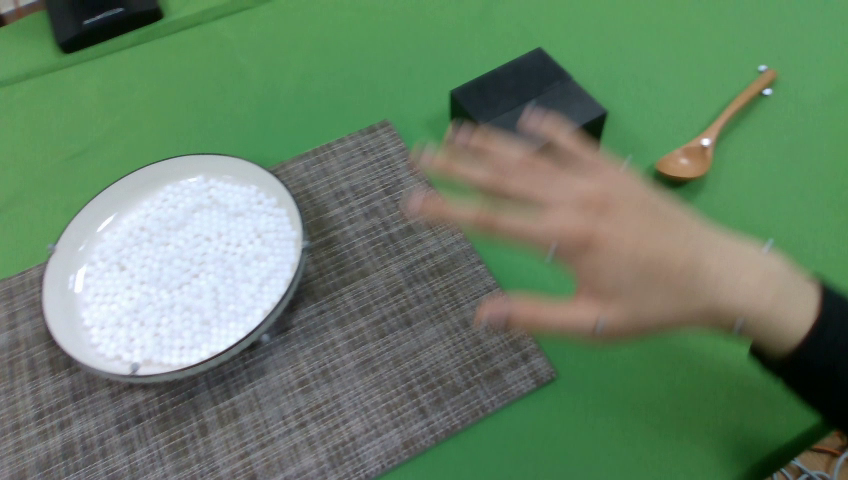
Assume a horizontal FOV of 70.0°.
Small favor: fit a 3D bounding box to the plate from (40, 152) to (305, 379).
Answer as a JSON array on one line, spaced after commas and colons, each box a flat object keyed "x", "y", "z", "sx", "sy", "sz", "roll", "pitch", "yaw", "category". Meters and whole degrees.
[{"x": -0.199, "y": 0.018, "z": 0.496, "sx": 0.209, "sy": 0.038, "sz": 0.207, "roll": -2, "pitch": 58, "yaw": 3, "category": "plate"}]

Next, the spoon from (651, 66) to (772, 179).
[{"x": 0.271, "y": -0.111, "z": 0.554, "sx": 0.193, "sy": 0.022, "sz": 0.041, "roll": -43, "pitch": 48, "yaw": -20, "category": "spoon"}]
